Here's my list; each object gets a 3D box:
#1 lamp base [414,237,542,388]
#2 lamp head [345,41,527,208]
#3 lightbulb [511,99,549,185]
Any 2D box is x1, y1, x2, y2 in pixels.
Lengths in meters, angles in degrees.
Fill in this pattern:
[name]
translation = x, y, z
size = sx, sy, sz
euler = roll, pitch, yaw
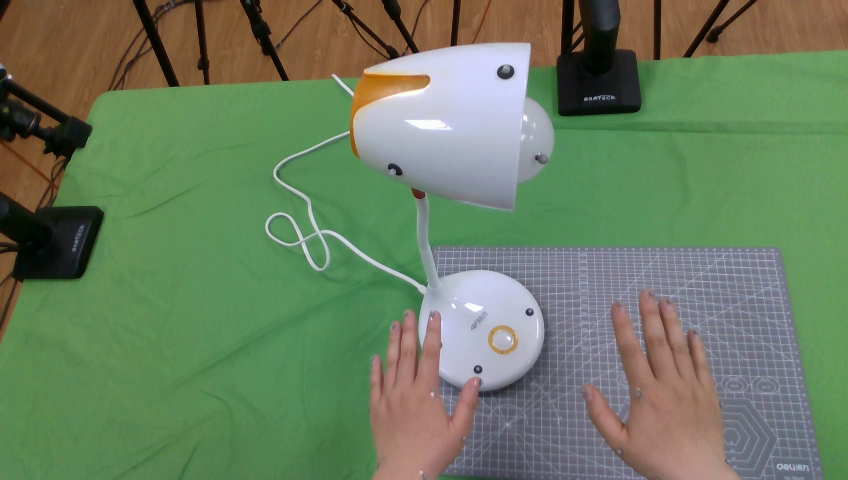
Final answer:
[lamp base]
translation = 0.047, 0.069, 0.707
size = 0.178, 0.182, 0.160
euler = 24, 69, 23
[lamp head]
translation = 0.009, -0.080, 0.420
size = 0.122, 0.113, 0.111
euler = 4, 64, 13
[lightbulb]
translation = 0.030, -0.067, 0.413
size = 0.107, 0.060, 0.059
euler = 2, 63, 12
